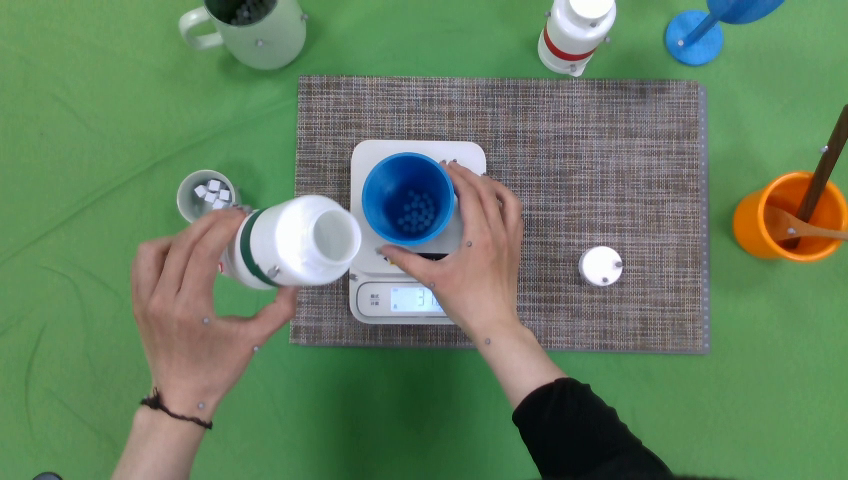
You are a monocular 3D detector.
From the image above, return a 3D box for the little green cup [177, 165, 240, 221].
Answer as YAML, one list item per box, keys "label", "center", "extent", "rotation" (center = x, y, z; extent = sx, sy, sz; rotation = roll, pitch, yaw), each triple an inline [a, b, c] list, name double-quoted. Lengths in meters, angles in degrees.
- label: "little green cup"
  center: [-0.231, -0.048, 0.659]
  extent: [0.061, 0.038, 0.061]
  rotation: [0, 86, -1]

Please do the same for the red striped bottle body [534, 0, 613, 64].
- label: "red striped bottle body"
  center: [0.154, -0.232, 0.626]
  extent: [0.063, 0.120, 0.063]
  rotation: [0, 86, 0]

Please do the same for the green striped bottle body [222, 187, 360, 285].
- label: "green striped bottle body"
  center: [-0.095, -0.002, 0.439]
  extent: [0.063, 0.119, 0.063]
  rotation: [7, 78, -39]

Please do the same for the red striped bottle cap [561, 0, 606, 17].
- label: "red striped bottle cap"
  center: [0.153, -0.236, 0.572]
  extent: [0.044, 0.018, 0.044]
  rotation: [0, 83, 1]

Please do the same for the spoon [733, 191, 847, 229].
- label: "spoon"
  center: [0.406, -0.017, 0.596]
  extent: [0.022, 0.192, 0.041]
  rotation: [11, 95, -42]

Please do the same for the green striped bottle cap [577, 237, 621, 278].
- label: "green striped bottle cap"
  center: [0.190, 0.018, 0.660]
  extent: [0.044, 0.020, 0.044]
  rotation: [0, 84, 1]

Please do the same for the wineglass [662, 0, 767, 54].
- label: "wineglass"
  center: [0.299, -0.247, 0.599]
  extent: [0.074, 0.172, 0.073]
  rotation: [0, 86, 1]

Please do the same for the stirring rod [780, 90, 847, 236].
- label: "stirring rod"
  center: [0.388, -0.069, 0.599]
  extent: [0.014, 0.178, 0.006]
  rotation: [9, 46, 15]

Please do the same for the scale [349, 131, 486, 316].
- label: "scale"
  center: [-0.007, -0.018, 0.655]
  extent: [0.149, 0.031, 0.200]
  rotation: [0, 87, 1]

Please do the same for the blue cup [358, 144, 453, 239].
- label: "blue cup"
  center: [-0.015, -0.043, 0.590]
  extent: [0.092, 0.100, 0.092]
  rotation: [0, 90, 1]

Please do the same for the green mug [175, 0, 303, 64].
- label: "green mug"
  center: [-0.197, -0.238, 0.637]
  extent: [0.125, 0.105, 0.092]
  rotation: [-22, 86, 0]
